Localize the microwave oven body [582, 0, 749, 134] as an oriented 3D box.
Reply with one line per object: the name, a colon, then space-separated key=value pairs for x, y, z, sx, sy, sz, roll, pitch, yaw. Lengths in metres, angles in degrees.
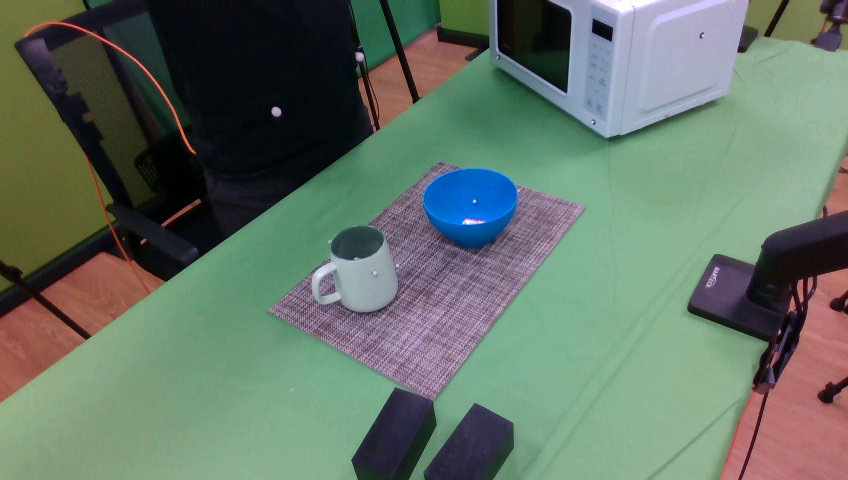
microwave oven body: x=0.382 y=-0.444 z=1.246 sx=0.327 sy=0.261 sz=0.437 roll=-22 pitch=42 yaw=-16

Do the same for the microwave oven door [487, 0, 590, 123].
microwave oven door: x=0.232 y=-0.420 z=1.230 sx=0.039 sy=0.245 sz=0.352 roll=-22 pitch=43 yaw=-16

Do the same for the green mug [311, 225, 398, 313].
green mug: x=-0.101 y=0.050 z=0.857 sx=0.126 sy=0.105 sz=0.091 roll=-28 pitch=45 yaw=-23

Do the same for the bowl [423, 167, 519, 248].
bowl: x=0.075 y=-0.041 z=0.958 sx=0.151 sy=0.077 sz=0.150 roll=-4 pitch=40 yaw=4

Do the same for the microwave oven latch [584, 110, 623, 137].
microwave oven latch: x=0.337 y=-0.222 z=1.142 sx=0.030 sy=0.029 sz=0.078 roll=-21 pitch=42 yaw=-14
